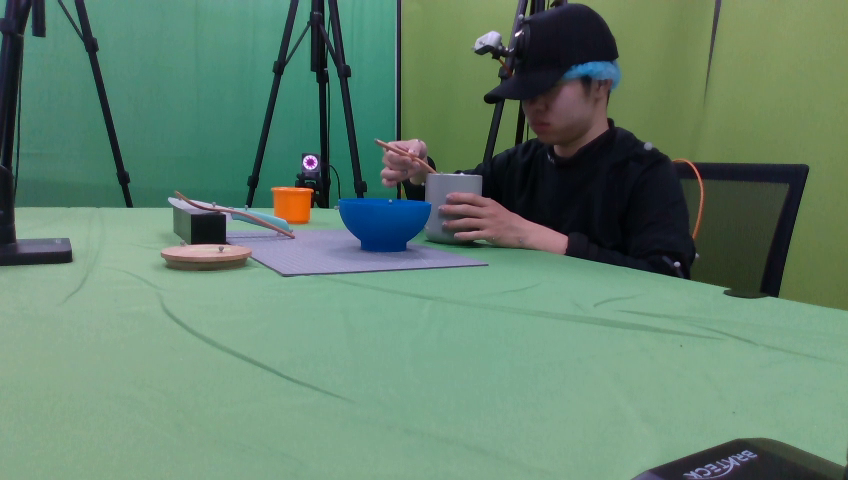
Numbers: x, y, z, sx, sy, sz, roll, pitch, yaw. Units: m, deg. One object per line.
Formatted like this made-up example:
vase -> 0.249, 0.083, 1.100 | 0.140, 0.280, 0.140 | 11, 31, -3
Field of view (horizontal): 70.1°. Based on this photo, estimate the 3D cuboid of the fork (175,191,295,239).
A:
fork -> -0.306, -0.039, 0.993 | 0.208, 0.018, 0.028 | 19, -8, -34

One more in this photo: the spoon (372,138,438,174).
spoon -> -0.007, -0.139, 1.101 | 0.194, 0.021, 0.041 | 31, 9, -7

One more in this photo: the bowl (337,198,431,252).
bowl -> -0.066, -0.024, 0.967 | 0.151, 0.077, 0.151 | 3, 7, 0

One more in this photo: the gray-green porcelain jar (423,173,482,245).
gray-green porcelain jar -> 0.051, -0.058, 1.115 | 0.106, 0.126, 0.106 | 3, 8, 0

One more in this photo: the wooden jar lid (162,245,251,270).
wooden jar lid -> -0.278, 0.022, 0.777 | 0.108, 0.020, 0.108 | 2, 6, 0

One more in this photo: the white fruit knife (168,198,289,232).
white fruit knife -> -0.329, -0.044, 1.036 | 0.208, 0.027, 0.016 | 14, -1, -32
